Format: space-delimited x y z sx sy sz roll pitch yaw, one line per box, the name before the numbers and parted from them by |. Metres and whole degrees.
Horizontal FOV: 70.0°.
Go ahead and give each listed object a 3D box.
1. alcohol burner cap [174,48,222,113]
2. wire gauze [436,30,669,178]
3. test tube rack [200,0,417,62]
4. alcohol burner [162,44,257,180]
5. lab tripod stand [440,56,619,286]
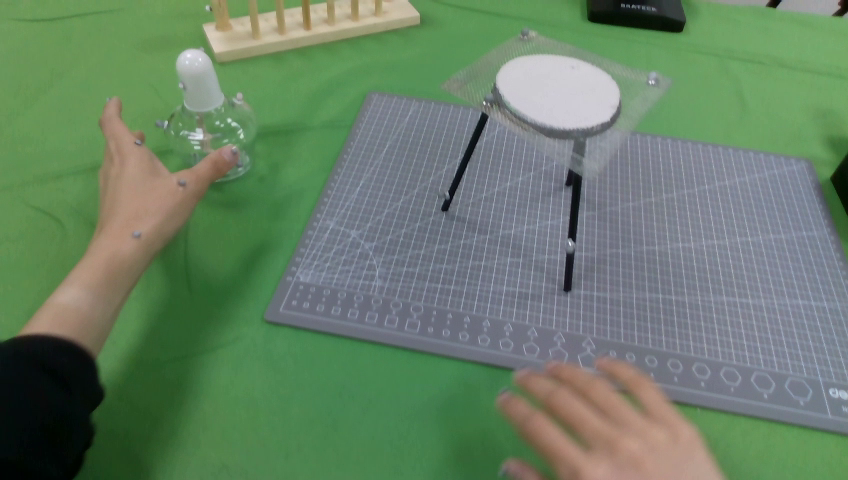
alcohol burner cap | -0.185 -0.131 0.488 0.034 0.048 0.033 2 49 -2
wire gauze | 0.090 -0.104 0.418 0.124 0.011 0.121 33 54 21
test tube rack | -0.130 -0.279 0.685 0.243 0.086 0.066 -18 53 -19
alcohol burner | -0.184 -0.110 0.511 0.078 0.120 0.077 1 50 -1
lab tripod stand | 0.090 -0.058 0.467 0.148 0.132 0.147 3 49 -4
